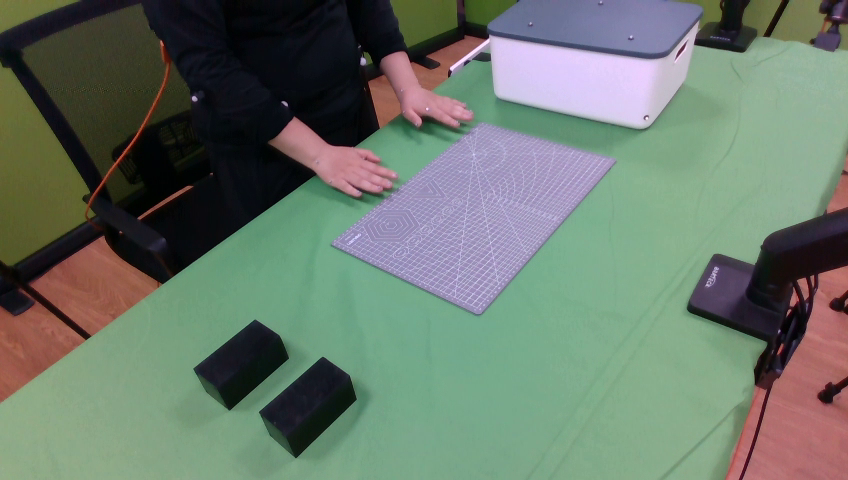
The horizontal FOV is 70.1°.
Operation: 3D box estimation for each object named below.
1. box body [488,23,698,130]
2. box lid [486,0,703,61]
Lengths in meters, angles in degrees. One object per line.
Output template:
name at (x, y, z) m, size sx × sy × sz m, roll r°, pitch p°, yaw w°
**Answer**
box body at (0.345, -0.379, 1.257) m, size 0.361 × 0.161 × 0.255 m, roll 20°, pitch 48°, yaw 29°
box lid at (0.338, -0.435, 1.208) m, size 0.369 × 0.015 × 0.264 m, roll 20°, pitch 47°, yaw 29°
